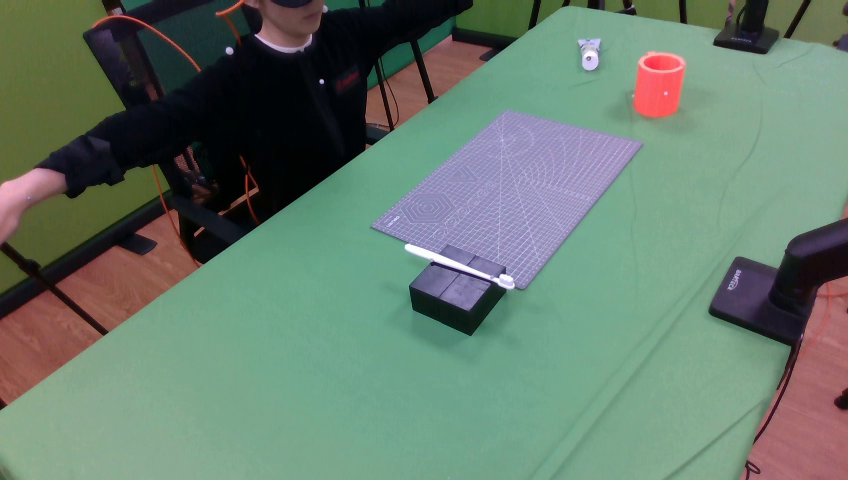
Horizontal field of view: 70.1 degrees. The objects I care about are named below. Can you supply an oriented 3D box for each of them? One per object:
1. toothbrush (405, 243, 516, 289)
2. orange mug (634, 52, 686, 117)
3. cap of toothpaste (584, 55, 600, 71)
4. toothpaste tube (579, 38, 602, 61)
[{"bbox_3d":[0.048,0.034,0.859,0.180,0.017,0.014,19,51,28],"label":"toothbrush"},{"bbox_3d":[0.469,-0.322,1.219,0.083,0.101,0.125,-5,45,3],"label":"orange mug"},{"bbox_3d":[0.381,-0.403,1.372,0.037,0.037,0.011,1,38,10],"label":"cap of toothpaste"},{"bbox_3d":[0.398,-0.449,1.433,0.055,0.034,0.164,6,38,8],"label":"toothpaste tube"}]
